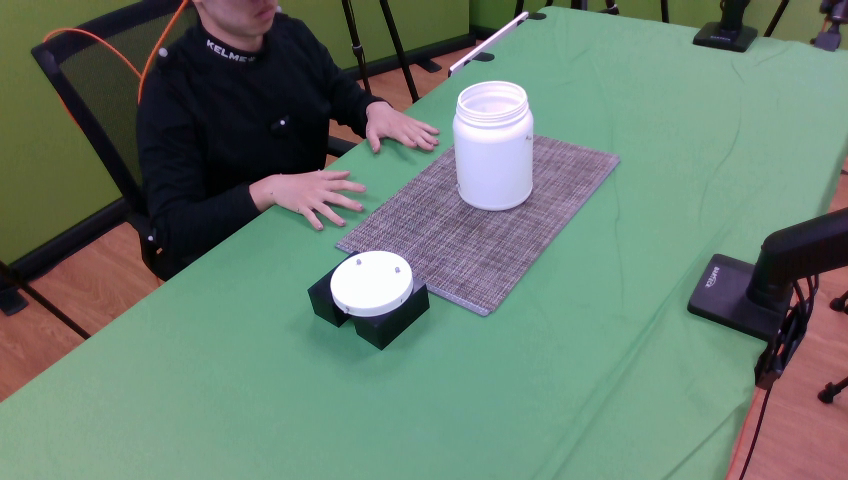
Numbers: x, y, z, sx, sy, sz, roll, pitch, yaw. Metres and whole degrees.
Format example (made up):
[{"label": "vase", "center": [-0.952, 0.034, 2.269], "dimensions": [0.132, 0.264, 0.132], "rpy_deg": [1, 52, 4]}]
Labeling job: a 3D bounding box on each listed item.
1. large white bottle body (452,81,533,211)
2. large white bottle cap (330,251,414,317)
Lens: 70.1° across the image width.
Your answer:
[{"label": "large white bottle body", "center": [0.115, -0.156, 1.002], "dimensions": [0.130, 0.185, 0.130], "rpy_deg": [-5, 41, 4]}, {"label": "large white bottle cap", "center": [-0.072, 0.059, 0.836], "dimensions": [0.115, 0.018, 0.114], "rpy_deg": [-4, 41, 4]}]
